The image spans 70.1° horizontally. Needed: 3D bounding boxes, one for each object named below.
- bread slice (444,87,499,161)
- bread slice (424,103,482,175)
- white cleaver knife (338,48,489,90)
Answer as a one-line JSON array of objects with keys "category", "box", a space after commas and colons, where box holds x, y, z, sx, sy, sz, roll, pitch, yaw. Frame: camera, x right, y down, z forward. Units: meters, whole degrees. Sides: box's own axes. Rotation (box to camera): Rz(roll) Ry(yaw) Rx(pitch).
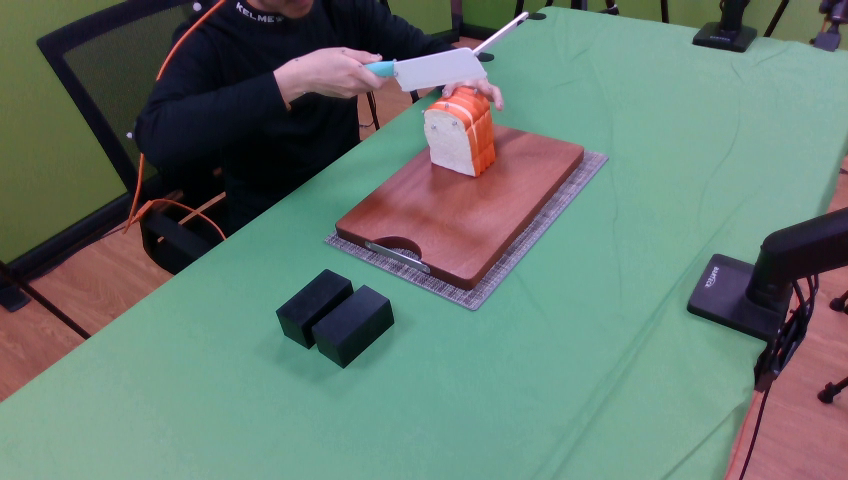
[{"category": "bread slice", "box": [0.082, -0.205, 1.067, 0.106, 0.135, 0.018, 22, 51, 29]}, {"category": "bread slice", "box": [0.045, -0.175, 1.039, 0.104, 0.132, 0.019, 21, 55, 32]}, {"category": "white cleaver knife", "box": [-0.028, -0.270, 0.991, 0.284, 0.066, 0.021, 3, 54, 35]}]
